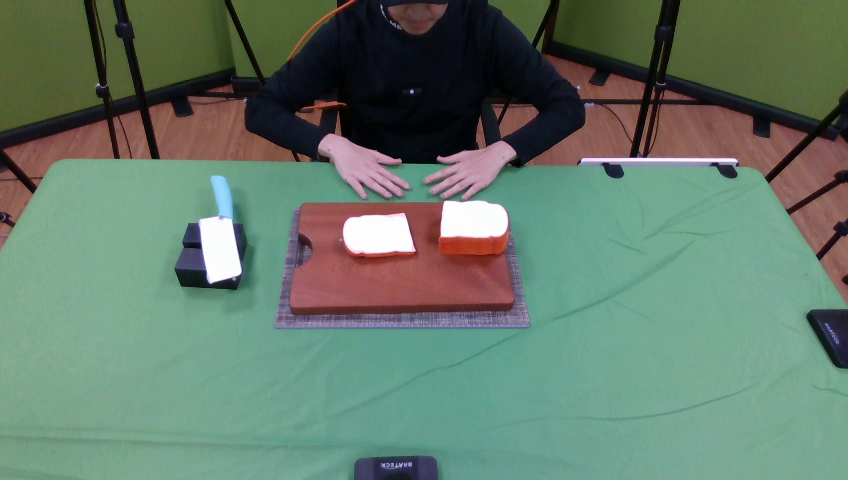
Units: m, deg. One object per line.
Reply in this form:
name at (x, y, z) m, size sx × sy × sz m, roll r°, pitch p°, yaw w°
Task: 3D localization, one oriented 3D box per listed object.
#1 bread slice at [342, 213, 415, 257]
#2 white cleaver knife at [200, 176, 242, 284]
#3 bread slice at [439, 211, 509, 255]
bread slice at (-0.091, -0.009, 1.154) m, size 0.132 × 0.019 × 0.104 m, roll -4°, pitch 48°, yaw -14°
white cleaver knife at (-0.386, -0.028, 1.136) m, size 0.066 × 0.021 × 0.284 m, roll -11°, pitch 46°, yaw -14°
bread slice at (0.097, -0.013, 1.172) m, size 0.134 × 0.018 × 0.106 m, roll 5°, pitch 48°, yaw 6°
